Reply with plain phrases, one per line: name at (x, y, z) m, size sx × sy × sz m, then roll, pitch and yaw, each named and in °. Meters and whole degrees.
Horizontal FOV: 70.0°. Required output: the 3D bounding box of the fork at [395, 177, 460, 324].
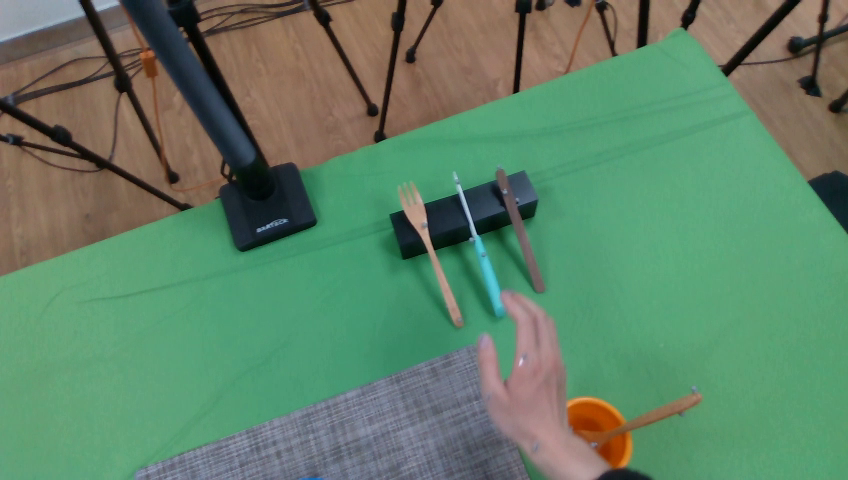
fork at (0.007, 0.015, 0.807) m, size 0.028 × 0.018 × 0.207 m, roll -21°, pitch 86°, yaw -7°

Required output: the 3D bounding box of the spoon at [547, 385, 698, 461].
spoon at (0.217, 0.204, 0.676) m, size 0.022 × 0.194 × 0.041 m, roll 5°, pitch 56°, yaw -45°

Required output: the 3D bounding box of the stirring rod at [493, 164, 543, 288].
stirring rod at (0.127, -0.019, 0.818) m, size 0.014 × 0.006 × 0.176 m, roll -19°, pitch 92°, yaw 2°

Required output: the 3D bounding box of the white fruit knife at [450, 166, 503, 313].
white fruit knife at (0.067, -0.002, 0.810) m, size 0.016 × 0.027 × 0.206 m, roll -17°, pitch 82°, yaw -9°

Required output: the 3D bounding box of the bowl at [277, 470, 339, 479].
bowl at (-0.124, 0.337, 0.667) m, size 0.151 × 0.077 × 0.150 m, roll -1°, pitch 66°, yaw 3°
